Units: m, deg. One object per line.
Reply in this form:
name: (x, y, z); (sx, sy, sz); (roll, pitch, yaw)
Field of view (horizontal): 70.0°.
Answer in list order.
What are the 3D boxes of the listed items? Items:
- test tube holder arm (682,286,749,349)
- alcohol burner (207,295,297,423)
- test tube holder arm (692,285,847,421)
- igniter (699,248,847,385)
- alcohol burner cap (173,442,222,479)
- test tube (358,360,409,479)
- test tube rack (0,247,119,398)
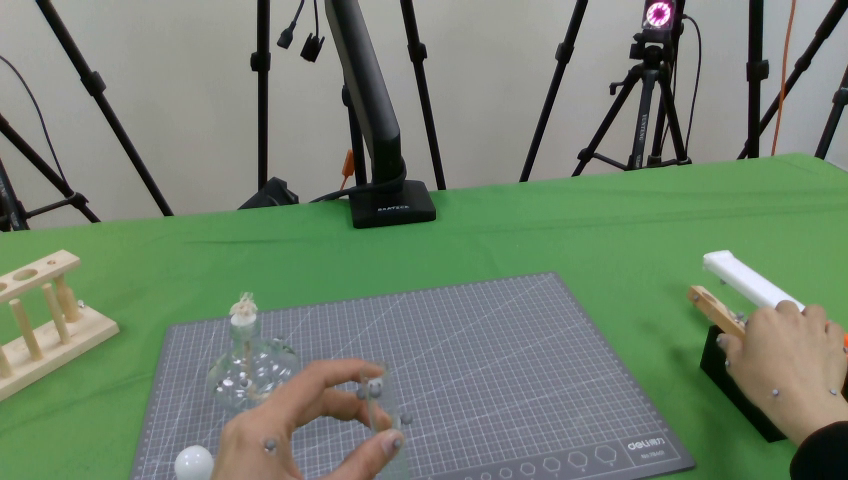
test tube holder arm: (0.274, 0.071, 0.568); (0.010, 0.015, 0.087); (-7, 30, -15)
alcohol burner: (-0.152, 0.100, 0.529); (0.078, 0.120, 0.077); (-1, 29, 1)
test tube holder arm: (0.293, 0.091, 0.532); (0.013, 0.015, 0.176); (-8, 30, -16)
igniter: (0.344, 0.078, 0.548); (0.057, 0.025, 0.273); (-10, 28, -8)
alcohol burner cap: (-0.177, 0.178, 0.468); (0.034, 0.048, 0.033); (-1, 30, 1)
test tube: (-0.017, 0.131, 0.345); (0.017, 0.151, 0.017); (-6, 27, 4)
test tube rack: (-0.426, 0.103, 0.565); (0.066, 0.086, 0.242); (18, 36, 29)
